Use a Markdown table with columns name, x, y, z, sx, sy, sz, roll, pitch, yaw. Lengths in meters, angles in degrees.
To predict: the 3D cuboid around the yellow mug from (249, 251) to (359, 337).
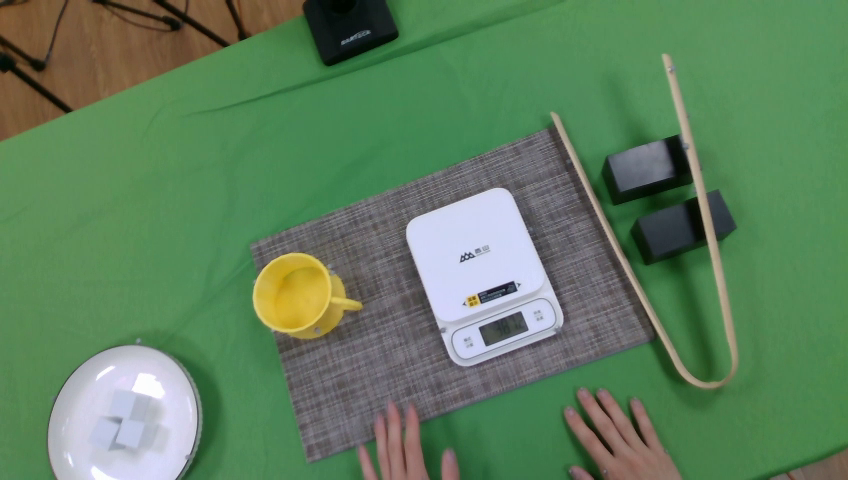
| name | x | y | z | sx | sy | sz | roll | pitch | yaw |
| --- | --- | --- | --- | --- | --- | --- | --- | --- | --- |
| yellow mug | -0.145 | 0.072 | 0.764 | 0.130 | 0.064 | 0.099 | 7 | 76 | 9 |

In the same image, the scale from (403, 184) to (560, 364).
| name | x | y | z | sx | sy | sz | roll | pitch | yaw |
| --- | --- | --- | --- | --- | --- | --- | --- | --- | --- |
| scale | 0.069 | 0.039 | 0.758 | 0.148 | 0.032 | 0.199 | -21 | 74 | 3 |

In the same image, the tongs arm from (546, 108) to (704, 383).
| name | x | y | z | sx | sy | sz | roll | pitch | yaw |
| --- | --- | --- | --- | --- | --- | --- | --- | --- | --- |
| tongs arm | 0.237 | -0.004 | 0.747 | 0.028 | 0.028 | 0.385 | -30 | 71 | 25 |

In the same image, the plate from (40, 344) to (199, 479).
| name | x | y | z | sx | sy | sz | roll | pitch | yaw |
| --- | --- | --- | --- | --- | --- | --- | --- | --- | --- |
| plate | -0.382 | 0.239 | 0.774 | 0.207 | 0.039 | 0.206 | -2 | 75 | 8 |

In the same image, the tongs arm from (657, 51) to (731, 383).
| name | x | y | z | sx | sy | sz | roll | pitch | yaw |
| --- | --- | --- | --- | --- | --- | --- | --- | --- | --- |
| tongs arm | 0.301 | -0.031 | 0.703 | 0.050 | 0.027 | 0.383 | -17 | 79 | 32 |
